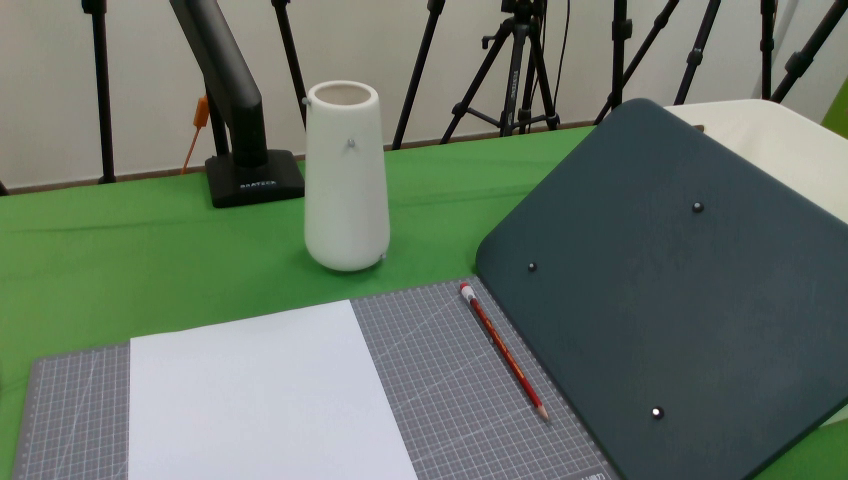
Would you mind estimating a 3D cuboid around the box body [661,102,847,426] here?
[{"bbox_3d":[0.372,0.002,0.648,0.255,0.161,0.359,-9,38,-18],"label":"box body"}]

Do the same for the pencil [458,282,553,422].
[{"bbox_3d":[0.076,0.104,0.598,0.012,0.012,0.191,-10,39,-20],"label":"pencil"}]

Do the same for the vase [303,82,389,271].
[{"bbox_3d":[-0.086,-0.064,0.657,0.098,0.201,0.097,2,35,-1],"label":"vase"}]

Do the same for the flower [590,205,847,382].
[{"bbox_3d":[0.334,0.063,0.679,0.358,0.038,0.044,40,12,32],"label":"flower"}]

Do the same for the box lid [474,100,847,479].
[{"bbox_3d":[0.208,0.033,0.559,0.015,0.263,0.367,35,15,-40],"label":"box lid"}]
